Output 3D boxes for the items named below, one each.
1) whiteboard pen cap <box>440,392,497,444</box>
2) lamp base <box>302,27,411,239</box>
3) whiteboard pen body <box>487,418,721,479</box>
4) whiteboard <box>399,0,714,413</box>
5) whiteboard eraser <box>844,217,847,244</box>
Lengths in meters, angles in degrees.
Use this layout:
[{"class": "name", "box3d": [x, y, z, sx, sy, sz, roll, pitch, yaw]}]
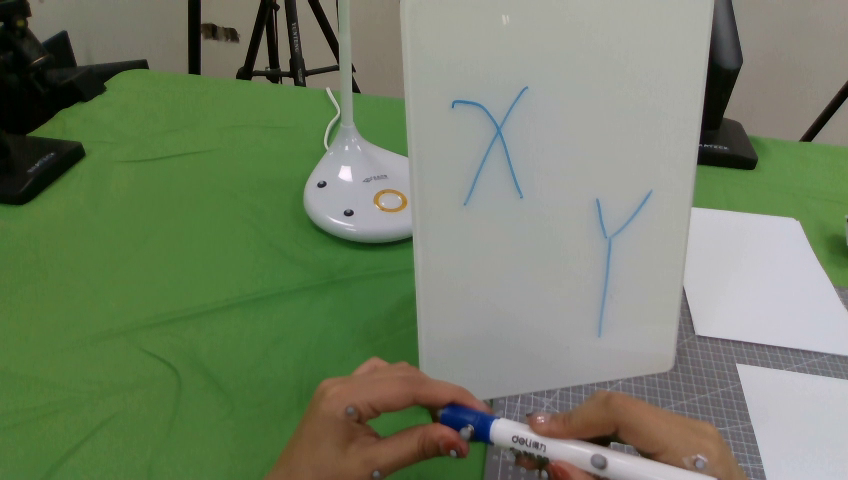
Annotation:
[{"class": "whiteboard pen cap", "box3d": [0.027, 0.098, 0.336, 0.033, 0.018, 0.018, 22, 42, 28]}, {"class": "lamp base", "box3d": [-0.061, -0.119, 0.641, 0.161, 0.182, 0.177, -25, 44, -30]}, {"class": "whiteboard pen body", "box3d": [0.076, 0.107, 0.303, 0.140, 0.017, 0.017, 6, 35, 34]}, {"class": "whiteboard", "box3d": [0.085, -0.042, 0.499, 0.218, 0.307, 0.142, -6, 20, -9]}, {"class": "whiteboard eraser", "box3d": [0.503, 0.004, 0.631, 0.112, 0.042, 0.055, 18, 43, 19]}]
